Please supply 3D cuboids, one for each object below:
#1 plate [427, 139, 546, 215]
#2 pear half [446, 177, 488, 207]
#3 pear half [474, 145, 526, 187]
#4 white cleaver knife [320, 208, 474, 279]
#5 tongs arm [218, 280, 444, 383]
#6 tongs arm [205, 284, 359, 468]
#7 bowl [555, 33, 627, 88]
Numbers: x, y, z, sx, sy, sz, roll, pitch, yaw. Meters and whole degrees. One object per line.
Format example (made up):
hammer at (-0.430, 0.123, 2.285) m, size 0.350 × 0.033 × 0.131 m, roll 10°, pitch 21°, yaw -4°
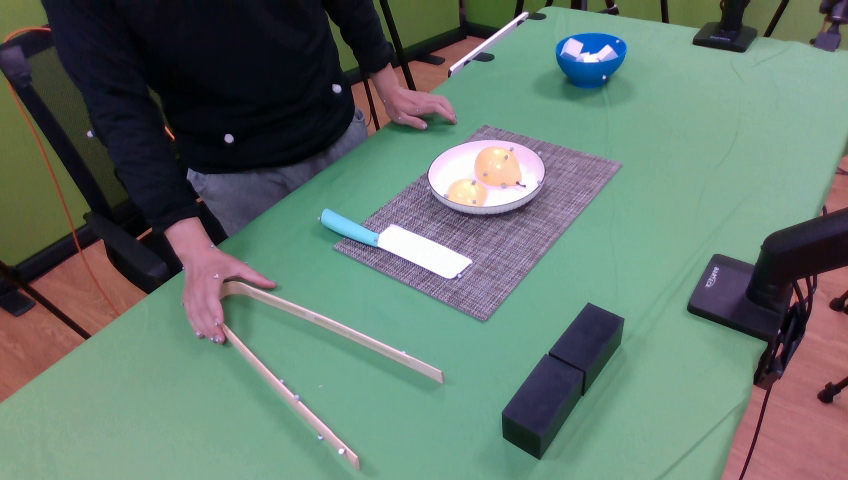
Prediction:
plate at (0.109, -0.107, 1.058) m, size 0.207 × 0.039 × 0.206 m, roll -4°, pitch 41°, yaw 4°
pear half at (0.073, -0.086, 1.033) m, size 0.070 × 0.031 × 0.087 m, roll -20°, pitch 36°, yaw -9°
pear half at (0.140, -0.129, 1.059) m, size 0.076 × 0.056 × 0.109 m, roll -37°, pitch 52°, yaw -24°
white cleaver knife at (-0.053, 0.001, 0.978) m, size 0.284 × 0.021 × 0.066 m, roll 23°, pitch 40°, yaw 26°
tongs arm at (-0.141, 0.121, 0.842) m, size 0.385 × 0.028 × 0.028 m, roll 18°, pitch 49°, yaw 27°
tongs arm at (-0.194, 0.162, 0.796) m, size 0.381 × 0.026 × 0.051 m, roll 29°, pitch 52°, yaw 36°
bowl at (0.360, -0.384, 1.318) m, size 0.151 × 0.077 × 0.150 m, roll -4°, pitch 41°, yaw 4°
